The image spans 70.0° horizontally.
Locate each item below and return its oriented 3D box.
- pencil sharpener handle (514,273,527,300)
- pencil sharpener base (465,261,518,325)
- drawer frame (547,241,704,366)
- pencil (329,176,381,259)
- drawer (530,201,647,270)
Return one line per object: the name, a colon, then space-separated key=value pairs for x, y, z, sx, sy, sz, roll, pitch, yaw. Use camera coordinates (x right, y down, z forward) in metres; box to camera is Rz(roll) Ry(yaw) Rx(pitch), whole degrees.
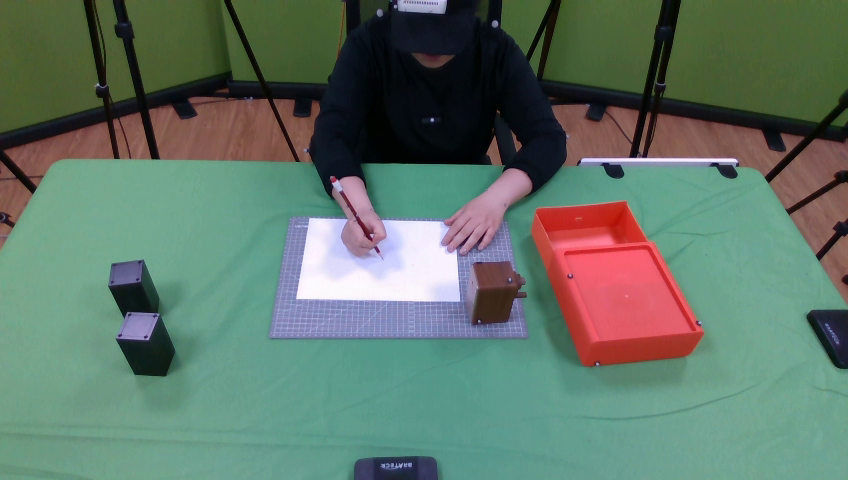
pencil sharpener handle: x=0.169 y=0.081 z=1.051 sx=0.031 sy=0.068 sz=0.035 roll=-3 pitch=48 yaw=-7
pencil sharpener base: x=0.117 y=0.093 z=1.053 sx=0.077 sy=0.107 sz=0.061 roll=-3 pitch=45 yaw=-7
drawer frame: x=0.348 y=0.106 z=1.077 sx=0.202 sy=0.083 sz=0.212 roll=-4 pitch=47 yaw=-9
pencil: x=-0.124 y=-0.037 z=1.116 sx=0.012 sy=0.195 sz=0.012 roll=-22 pitch=29 yaw=13
drawer: x=0.329 y=0.025 z=1.159 sx=0.195 sy=0.073 sz=0.210 roll=-5 pitch=46 yaw=-9
